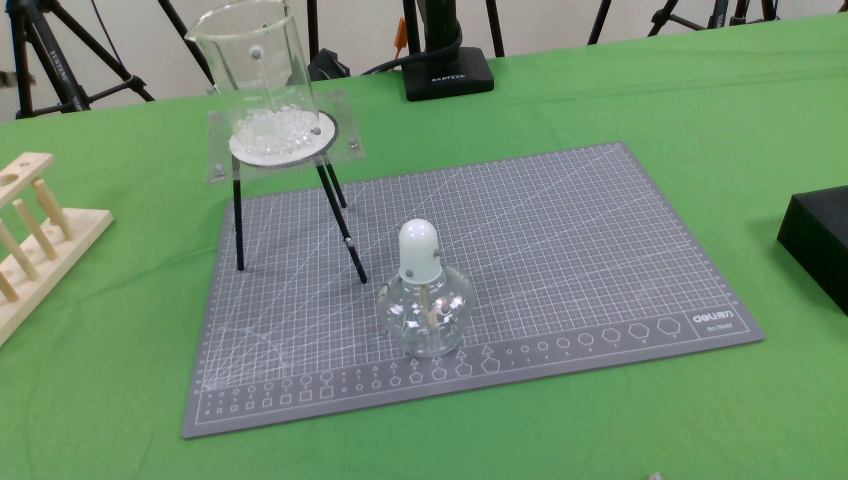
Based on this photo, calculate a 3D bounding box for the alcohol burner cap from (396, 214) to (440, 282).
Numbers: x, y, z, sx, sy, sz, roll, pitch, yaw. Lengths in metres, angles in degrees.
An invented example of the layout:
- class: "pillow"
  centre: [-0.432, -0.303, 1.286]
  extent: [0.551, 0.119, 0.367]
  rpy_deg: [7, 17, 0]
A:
- class: "alcohol burner cap"
  centre: [-0.005, 0.004, 0.440]
  extent: [0.034, 0.048, 0.033]
  rpy_deg: [-2, 38, 2]

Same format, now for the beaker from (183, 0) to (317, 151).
- class: "beaker"
  centre: [-0.129, -0.127, 0.471]
  extent: [0.084, 0.101, 0.073]
  rpy_deg: [-13, 41, -6]

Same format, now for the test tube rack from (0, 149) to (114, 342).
- class: "test tube rack"
  centre: [-0.399, 0.019, 0.555]
  extent: [0.066, 0.086, 0.240]
  rpy_deg: [4, 42, 12]

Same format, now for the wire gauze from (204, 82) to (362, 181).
- class: "wire gauze"
  centre: [-0.120, -0.091, 0.503]
  extent: [0.125, 0.011, 0.120]
  rpy_deg: [-15, 40, -5]

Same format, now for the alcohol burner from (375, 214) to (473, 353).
- class: "alcohol burner"
  centre: [-0.002, 0.030, 0.465]
  extent: [0.078, 0.120, 0.077]
  rpy_deg: [-4, 39, 4]

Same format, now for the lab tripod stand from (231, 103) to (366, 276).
- class: "lab tripod stand"
  centre: [-0.114, -0.043, 0.547]
  extent: [0.148, 0.133, 0.147]
  rpy_deg: [-4, 43, 4]
